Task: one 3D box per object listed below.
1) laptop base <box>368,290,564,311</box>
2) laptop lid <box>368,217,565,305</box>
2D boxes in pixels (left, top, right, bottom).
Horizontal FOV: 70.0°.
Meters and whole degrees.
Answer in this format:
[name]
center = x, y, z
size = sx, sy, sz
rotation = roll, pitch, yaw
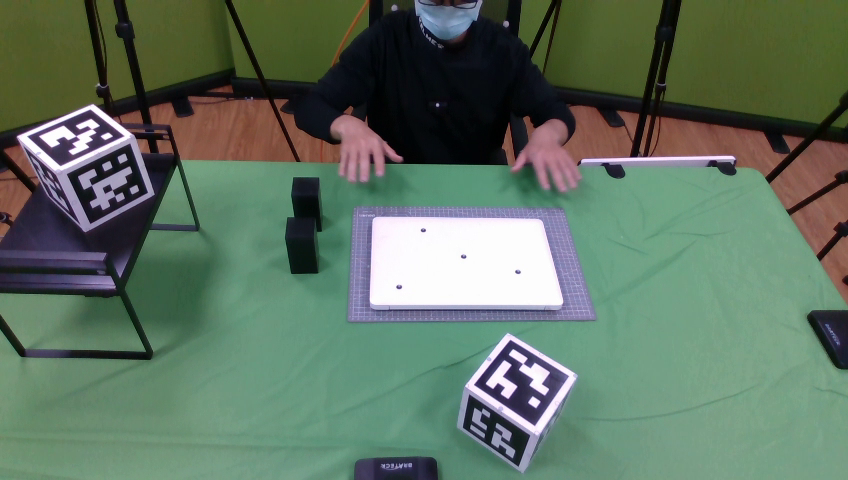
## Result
[laptop base]
center = 0.074, 0.044, 1.160
size = 0.354, 0.023, 0.234
rotation = 0, 43, -3
[laptop lid]
center = 0.074, 0.034, 1.152
size = 0.357, 0.013, 0.240
rotation = 2, 44, -2
